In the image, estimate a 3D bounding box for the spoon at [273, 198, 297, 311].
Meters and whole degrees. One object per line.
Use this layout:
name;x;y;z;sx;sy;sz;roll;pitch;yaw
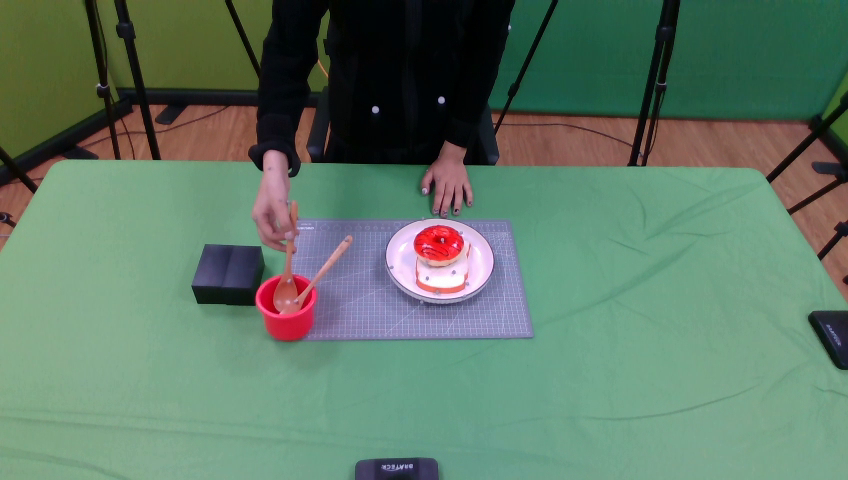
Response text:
spoon;-0.226;0.027;1.012;0.041;0.194;0.021;9;15;1

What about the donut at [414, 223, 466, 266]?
donut;0.030;0.008;1.140;0.099;0.048;0.098;0;42;0

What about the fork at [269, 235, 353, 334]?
fork;-0.187;0.073;1.016;0.028;0.018;0.207;39;92;6

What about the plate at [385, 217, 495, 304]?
plate;0.030;0.041;1.146;0.209;0.038;0.208;2;46;-2

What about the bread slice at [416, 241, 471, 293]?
bread slice;0.036;0.046;1.144;0.105;0.019;0.131;4;45;1
